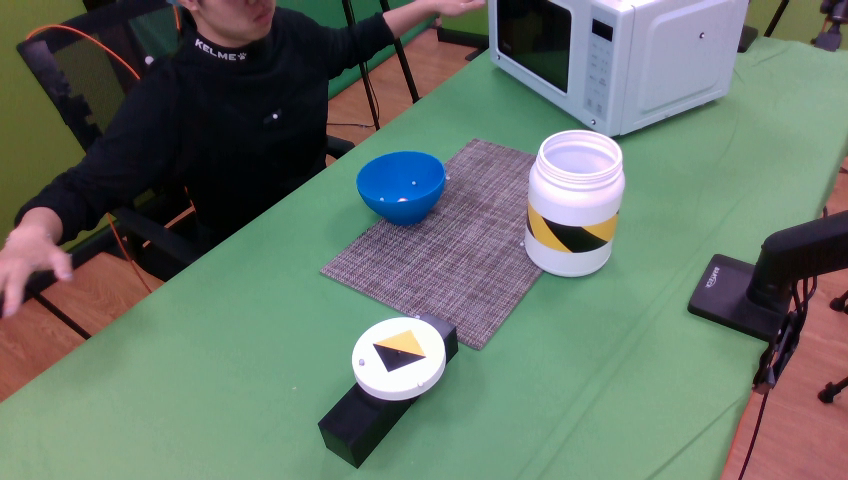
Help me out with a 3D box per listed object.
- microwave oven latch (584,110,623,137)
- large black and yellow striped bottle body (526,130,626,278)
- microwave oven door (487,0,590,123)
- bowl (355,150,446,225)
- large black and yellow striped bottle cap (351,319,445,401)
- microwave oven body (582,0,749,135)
[{"bbox_3d":[0.337,-0.222,1.142,0.030,0.029,0.078,-21,42,-14],"label":"microwave oven latch"},{"bbox_3d":[0.216,-0.051,0.870,0.131,0.185,0.130,-2,43,2],"label":"large black and yellow striped bottle body"},{"bbox_3d":[0.231,-0.420,1.230,0.039,0.245,0.352,-22,43,-16],"label":"microwave oven door"},{"bbox_3d":[-0.035,-0.078,1.017,0.151,0.077,0.150,-4,40,4],"label":"bowl"},{"bbox_3d":[-0.031,0.143,0.734,0.115,0.019,0.114,-3,40,3],"label":"large black and yellow striped bottle cap"},{"bbox_3d":[0.382,-0.444,1.246,0.327,0.261,0.437,-22,42,-16],"label":"microwave oven body"}]
